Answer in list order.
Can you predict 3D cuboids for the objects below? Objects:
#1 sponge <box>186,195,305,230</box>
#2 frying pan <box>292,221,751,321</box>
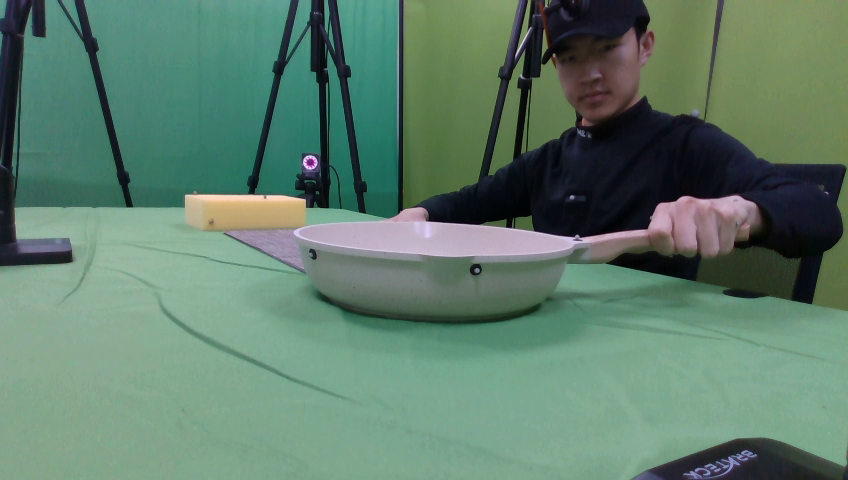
[{"bbox_3d":[-0.358,-0.057,1.219,0.208,0.061,0.117,-3,8,-37],"label":"sponge"},{"bbox_3d":[0.112,0.012,0.644,0.488,0.102,0.306,-6,8,-2],"label":"frying pan"}]
